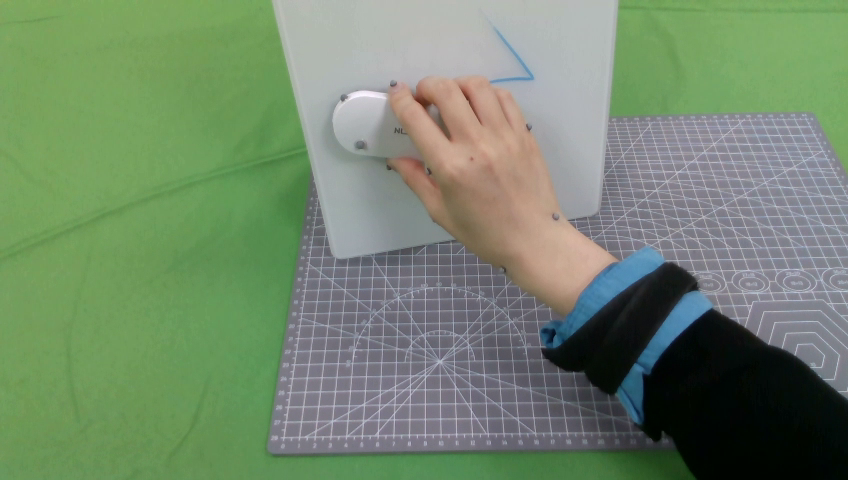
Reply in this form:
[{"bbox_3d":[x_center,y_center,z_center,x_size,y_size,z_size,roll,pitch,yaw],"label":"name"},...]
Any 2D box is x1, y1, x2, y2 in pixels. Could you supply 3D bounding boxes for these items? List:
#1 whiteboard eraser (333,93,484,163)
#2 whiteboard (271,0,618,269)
[{"bbox_3d":[-0.010,-0.074,0.405,0.101,0.041,0.018,3,33,-14],"label":"whiteboard eraser"},{"bbox_3d":[0.012,-0.159,0.443,0.217,0.308,0.142,-10,34,-4],"label":"whiteboard"}]
